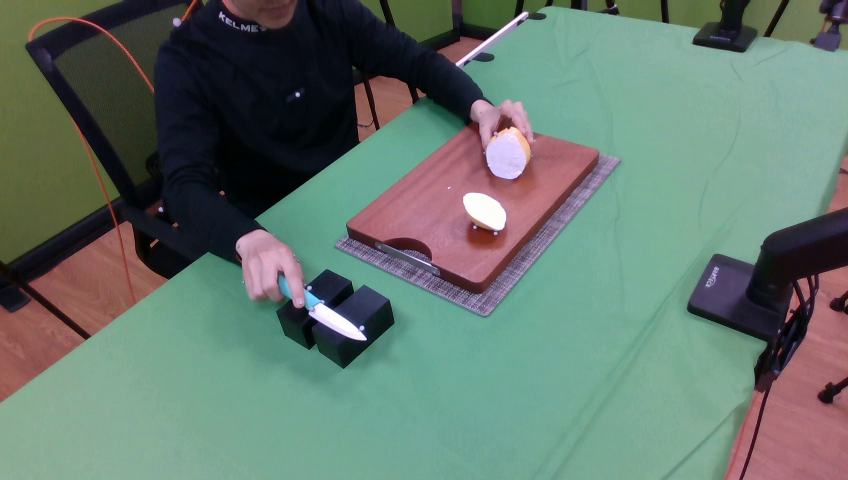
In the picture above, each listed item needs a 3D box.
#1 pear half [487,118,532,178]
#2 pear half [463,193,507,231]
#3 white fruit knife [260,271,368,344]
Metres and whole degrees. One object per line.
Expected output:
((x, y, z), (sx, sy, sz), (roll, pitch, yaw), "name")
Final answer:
((0.149, -0.165, 1.028), (0.076, 0.110, 0.056), (14, 45, 13), "pear half")
((0.095, -0.038, 0.947), (0.071, 0.031, 0.087), (-8, 52, -25), "pear half")
((-0.150, 0.089, 0.815), (0.206, 0.016, 0.027), (27, 88, 30), "white fruit knife")
